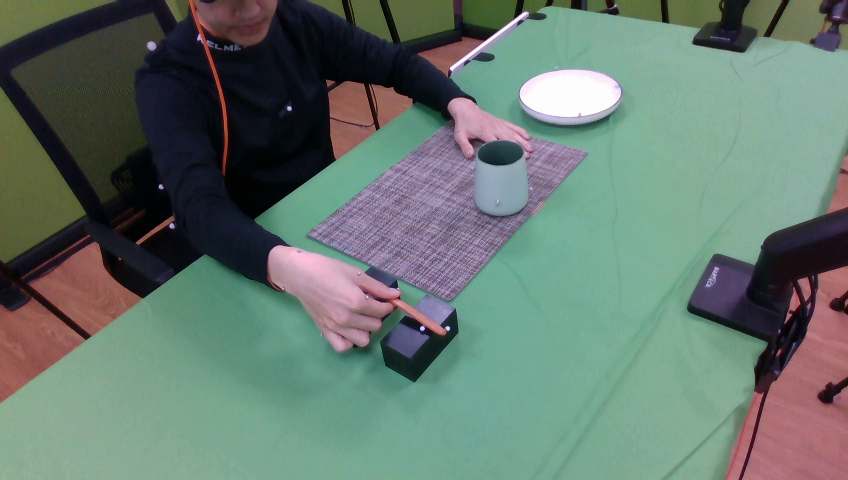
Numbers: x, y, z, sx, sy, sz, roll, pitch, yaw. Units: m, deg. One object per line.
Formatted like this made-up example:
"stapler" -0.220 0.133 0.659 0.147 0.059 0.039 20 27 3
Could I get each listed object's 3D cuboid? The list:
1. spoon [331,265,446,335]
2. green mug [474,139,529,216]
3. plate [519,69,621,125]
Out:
"spoon" -0.050 0.079 0.806 0.192 0.021 0.042 24 29 30
"green mug" 0.126 -0.113 1.013 0.092 0.105 0.124 -8 41 0
"plate" 0.300 -0.293 1.253 0.209 0.038 0.208 -4 41 4
